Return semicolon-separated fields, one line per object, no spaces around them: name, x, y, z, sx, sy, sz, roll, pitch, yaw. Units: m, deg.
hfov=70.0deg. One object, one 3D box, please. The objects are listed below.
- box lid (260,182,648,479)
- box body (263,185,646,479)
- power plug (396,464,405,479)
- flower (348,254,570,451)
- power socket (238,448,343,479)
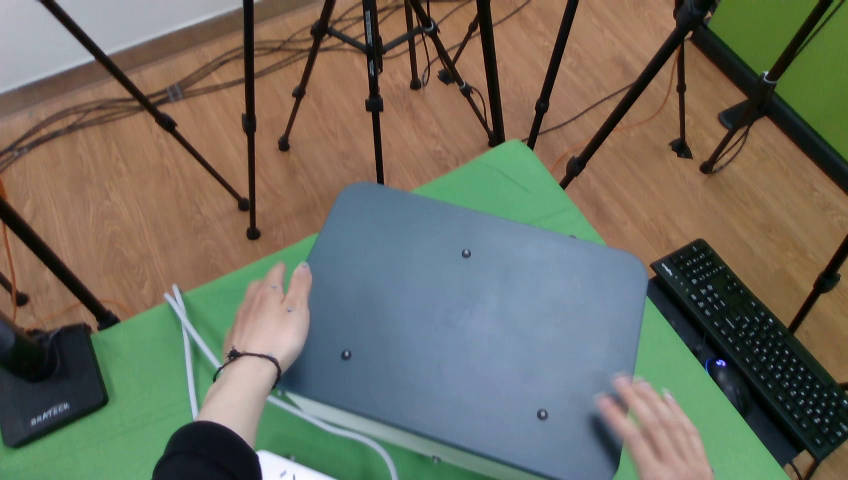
box lid;0.041;0.083;0.643;0.370;0.015;0.261;15;62;9
box body;0.040;0.119;0.708;0.363;0.161;0.252;16;62;8
power plug;-0.028;0.290;0.662;0.035;0.053;0.072;27;60;18
flower;0.041;0.143;0.776;0.360;0.038;0.044;40;91;13
power socket;-0.109;0.303;0.680;0.226;0.033;0.072;18;62;10
